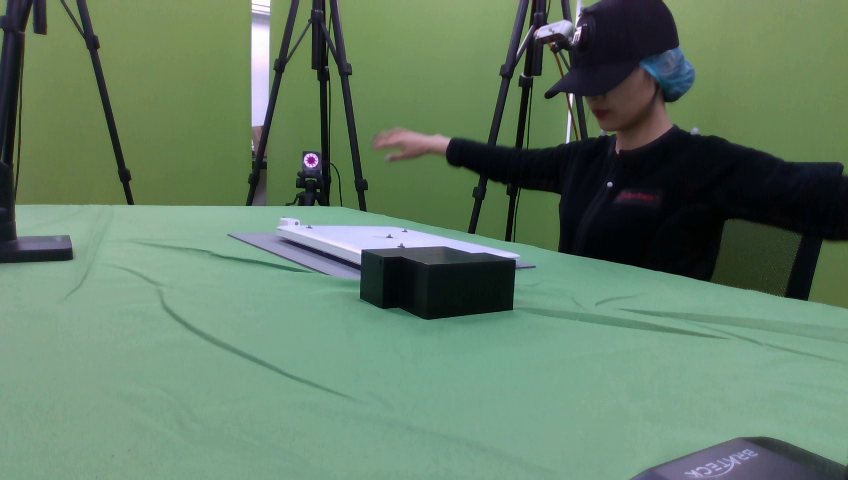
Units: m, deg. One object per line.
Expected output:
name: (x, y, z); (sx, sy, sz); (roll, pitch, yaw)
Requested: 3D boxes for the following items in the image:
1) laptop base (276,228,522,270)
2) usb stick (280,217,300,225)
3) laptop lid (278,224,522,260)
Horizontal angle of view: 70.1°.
laptop base: (-0.054, 0.011, 0.909); (0.237, 0.023, 0.352); (1, 6, -33)
usb stick: (-0.225, -0.023, 1.024); (0.021, 0.027, 0.059); (0, 9, -31)
laptop lid: (-0.052, -0.001, 0.909); (0.243, 0.013, 0.355); (0, 7, -32)
